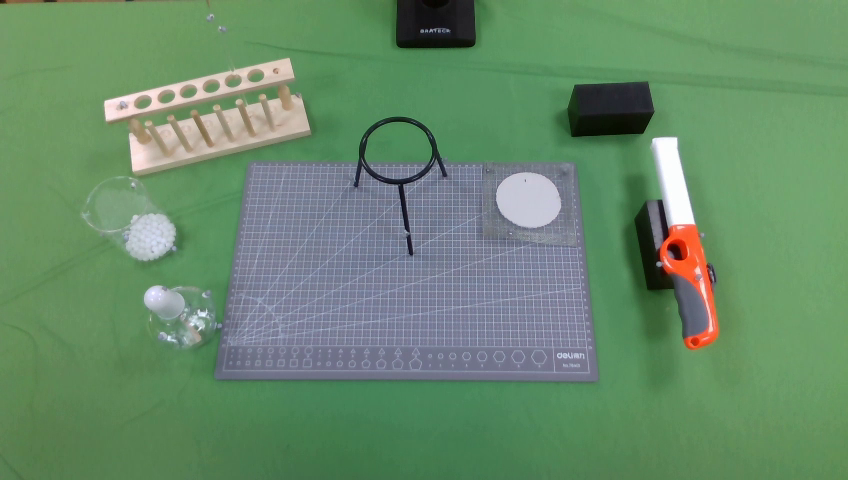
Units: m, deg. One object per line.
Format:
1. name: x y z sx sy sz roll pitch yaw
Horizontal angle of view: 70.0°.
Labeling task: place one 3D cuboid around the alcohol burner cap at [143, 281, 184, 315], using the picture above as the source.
1. alcohol burner cap: -0.287 0.061 0.659 0.034 0.048 0.033 0 69 0

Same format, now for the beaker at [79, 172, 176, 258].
1. beaker: -0.359 -0.025 0.745 0.084 0.101 0.073 -12 66 -4

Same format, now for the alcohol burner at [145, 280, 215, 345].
1. alcohol burner: -0.285 0.077 0.692 0.078 0.120 0.077 0 64 0

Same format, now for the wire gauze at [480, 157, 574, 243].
1. wire gauze: 0.136 -0.057 0.801 0.125 0.011 0.120 5 66 0

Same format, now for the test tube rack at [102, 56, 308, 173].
1. test tube rack: -0.288 -0.168 0.816 0.242 0.086 0.066 -15 66 -6

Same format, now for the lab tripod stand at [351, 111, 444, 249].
1. lab tripod stand: -0.030 -0.079 0.744 0.148 0.132 0.147 1 67 -1

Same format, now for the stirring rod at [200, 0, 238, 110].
1. stirring rod: -0.253 -0.231 0.757 0.014 0.177 0.005 7 54 3

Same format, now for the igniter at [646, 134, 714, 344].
1. igniter: 0.301 -0.010 0.720 0.057 0.025 0.274 -1 63 4
